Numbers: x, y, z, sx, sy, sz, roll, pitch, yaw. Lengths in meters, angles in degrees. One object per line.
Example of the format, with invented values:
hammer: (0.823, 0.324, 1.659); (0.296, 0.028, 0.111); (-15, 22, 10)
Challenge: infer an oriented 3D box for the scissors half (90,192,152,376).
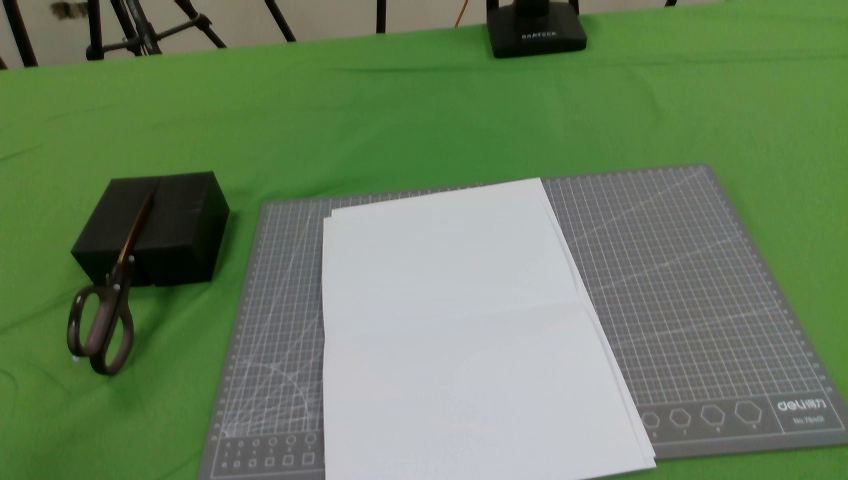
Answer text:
scissors half: (-0.250, 0.031, 0.517); (0.013, 0.040, 0.173); (-8, 62, 11)

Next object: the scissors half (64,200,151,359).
scissors half: (-0.254, 0.019, 0.500); (0.013, 0.040, 0.173); (-5, 45, 7)
